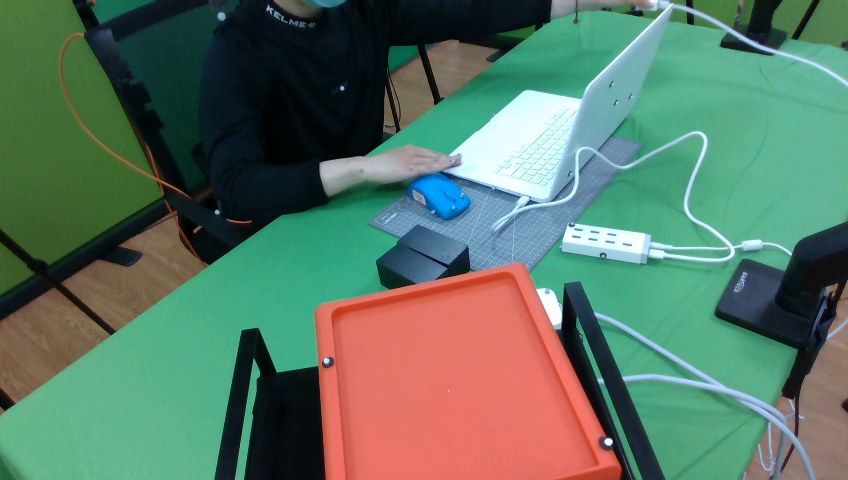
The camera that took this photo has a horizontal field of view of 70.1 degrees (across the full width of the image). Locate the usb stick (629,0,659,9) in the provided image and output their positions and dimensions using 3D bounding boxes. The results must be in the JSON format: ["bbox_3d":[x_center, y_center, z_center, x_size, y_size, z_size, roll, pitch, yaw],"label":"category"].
[{"bbox_3d":[0.471,-0.508,1.294,0.059,0.021,0.027,9,39,20],"label":"usb stick"}]

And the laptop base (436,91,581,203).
[{"bbox_3d":[0.215,-0.192,1.172,0.233,0.023,0.355,19,46,32],"label":"laptop base"}]

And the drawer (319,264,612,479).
[{"bbox_3d":[0.020,0.129,0.497,0.195,0.073,0.210,-11,41,-5],"label":"drawer"}]

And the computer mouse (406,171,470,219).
[{"bbox_3d":[0.024,-0.082,1.049,0.063,0.041,0.116,-30,50,-27],"label":"computer mouse"}]

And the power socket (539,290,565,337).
[{"bbox_3d":[0.081,0.112,0.822,0.227,0.033,0.072,-6,41,0],"label":"power socket"}]

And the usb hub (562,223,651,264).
[{"bbox_3d":[0.279,0.005,0.926,0.124,0.025,0.049,10,43,19],"label":"usb hub"}]

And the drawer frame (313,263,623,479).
[{"bbox_3d":[0.021,0.130,0.493,0.202,0.083,0.212,-11,41,-6],"label":"drawer frame"}]

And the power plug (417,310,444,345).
[{"bbox_3d":[0.007,0.123,0.785,0.035,0.053,0.072,0,39,8],"label":"power plug"}]

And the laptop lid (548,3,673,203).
[{"bbox_3d":[0.320,-0.235,1.026,0.013,0.242,0.357,31,50,20],"label":"laptop lid"}]
